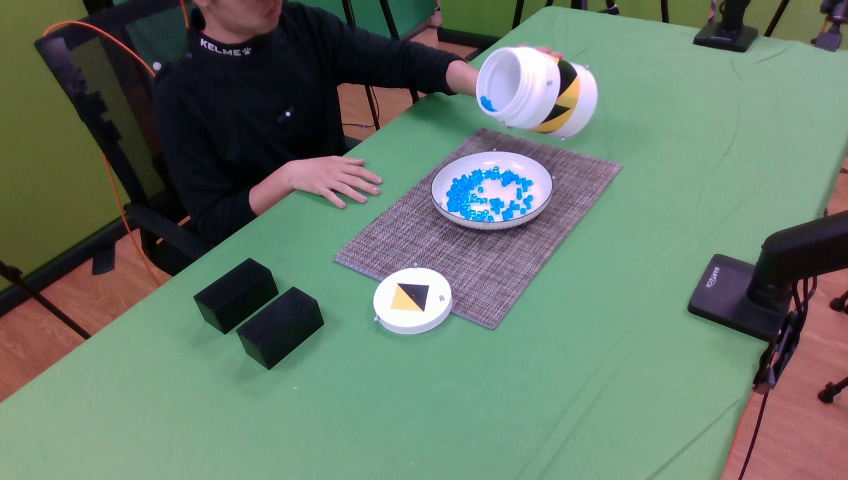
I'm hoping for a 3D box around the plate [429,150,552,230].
[{"bbox_3d":[0.113,-0.082,1.032,0.207,0.039,0.206,-4,41,4],"label":"plate"}]

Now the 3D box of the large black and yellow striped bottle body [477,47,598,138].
[{"bbox_3d":[0.193,-0.254,1.039,0.185,0.130,0.129,5,29,-38],"label":"large black and yellow striped bottle body"}]

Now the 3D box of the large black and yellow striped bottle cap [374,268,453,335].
[{"bbox_3d":[-0.015,0.087,0.871,0.115,0.019,0.114,-6,43,6],"label":"large black and yellow striped bottle cap"}]
